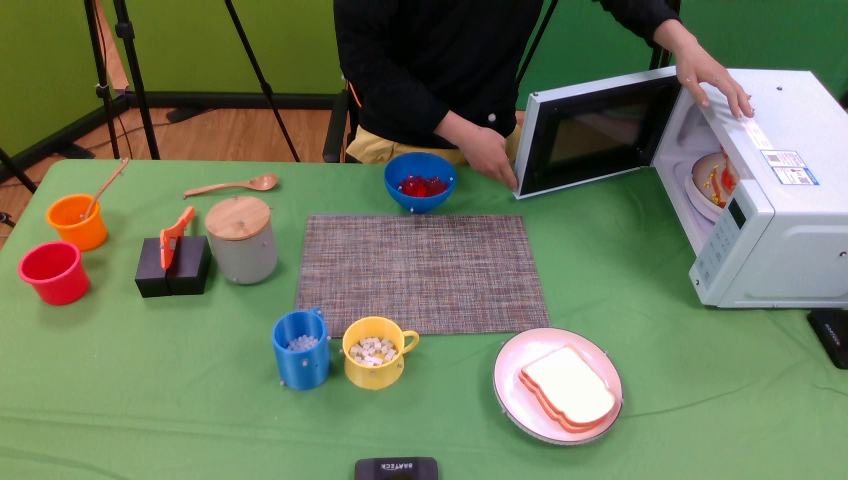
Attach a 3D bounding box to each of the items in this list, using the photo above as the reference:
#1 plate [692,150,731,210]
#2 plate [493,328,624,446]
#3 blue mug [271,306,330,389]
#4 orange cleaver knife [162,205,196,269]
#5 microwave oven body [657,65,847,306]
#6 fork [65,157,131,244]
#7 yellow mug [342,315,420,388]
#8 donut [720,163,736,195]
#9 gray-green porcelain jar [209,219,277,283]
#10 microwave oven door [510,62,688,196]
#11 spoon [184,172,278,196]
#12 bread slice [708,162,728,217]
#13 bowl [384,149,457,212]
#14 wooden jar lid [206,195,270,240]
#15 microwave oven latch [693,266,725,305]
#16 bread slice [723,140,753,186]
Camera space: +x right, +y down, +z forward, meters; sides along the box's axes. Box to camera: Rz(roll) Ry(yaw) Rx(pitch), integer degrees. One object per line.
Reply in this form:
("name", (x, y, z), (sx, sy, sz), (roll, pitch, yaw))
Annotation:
("plate", (0.655, -0.109, 1.238), (0.209, 0.038, 0.208), (0, 45, 0))
("plate", (0.213, 0.236, 0.974), (0.208, 0.039, 0.206), (2, 46, -2))
("blue mug", (-0.188, 0.163, 0.969), (0.082, 0.106, 0.116), (15, 47, 10))
("orange cleaver knife", (-0.454, -0.010, 1.129), (0.012, 0.077, 0.210), (-2, 20, -5))
("microwave oven body", (0.669, -0.111, 1.176), (0.326, 0.261, 0.439), (0, 46, -3))
("fork", (-0.609, -0.074, 1.133), (0.207, 0.019, 0.028), (-52, 50, 10))
("yellow mug", (-0.068, 0.177, 0.990), (0.131, 0.064, 0.099), (-16, 50, -19))
("donut", (0.647, -0.121, 1.216), (0.099, 0.048, 0.098), (-3, 57, 4))
("gray-green porcelain jar", (-0.323, 0.007, 1.092), (0.106, 0.127, 0.105), (2, 46, -2))
("microwave oven door", (0.361, -0.229, 1.260), (0.356, 0.245, 0.039), (-15, 49, -17))
("spoon", (-0.405, -0.116, 1.275), (0.194, 0.022, 0.041), (-8, 63, -12))
("bread slice", (0.652, -0.103, 1.266), (0.105, 0.019, 0.131), (9, 71, 6))
("bowl", (-0.009, -0.112, 1.262), (0.151, 0.077, 0.150), (2, 46, -2))
("wooden jar lid", (-0.319, -0.036, 1.046), (0.108, 0.021, 0.107), (1, 44, -1))
("microwave oven latch", (0.523, 0.082, 1.116), (0.030, 0.029, 0.078), (3, 46, 0))
("bread slice", (0.659, -0.146, 1.200), (0.107, 0.018, 0.133), (1, 54, 8))
